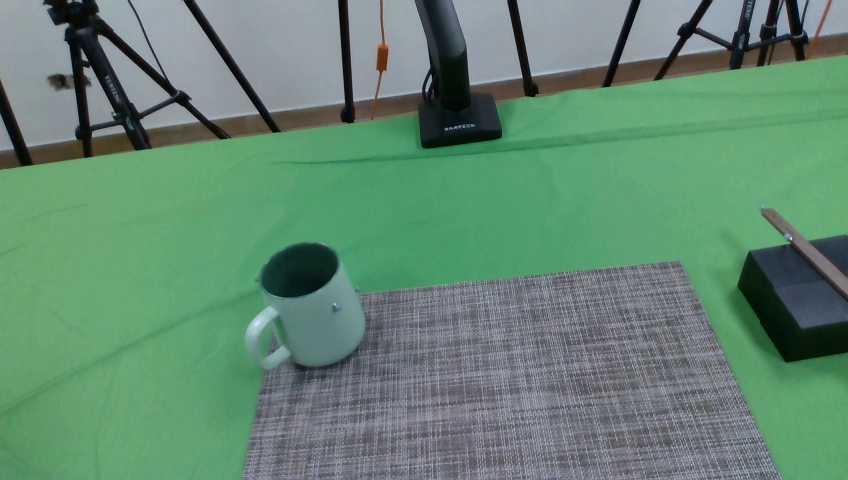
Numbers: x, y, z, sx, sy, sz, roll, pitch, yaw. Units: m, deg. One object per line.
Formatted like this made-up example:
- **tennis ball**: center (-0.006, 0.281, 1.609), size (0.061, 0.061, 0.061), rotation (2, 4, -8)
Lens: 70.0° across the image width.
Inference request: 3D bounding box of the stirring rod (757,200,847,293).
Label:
- **stirring rod**: center (0.375, 0.016, 0.573), size (0.014, 0.006, 0.174), rotation (-12, 43, -7)

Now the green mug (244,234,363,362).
- **green mug**: center (-0.124, 0.068, 0.600), size (0.092, 0.106, 0.125), rotation (24, 52, 30)
